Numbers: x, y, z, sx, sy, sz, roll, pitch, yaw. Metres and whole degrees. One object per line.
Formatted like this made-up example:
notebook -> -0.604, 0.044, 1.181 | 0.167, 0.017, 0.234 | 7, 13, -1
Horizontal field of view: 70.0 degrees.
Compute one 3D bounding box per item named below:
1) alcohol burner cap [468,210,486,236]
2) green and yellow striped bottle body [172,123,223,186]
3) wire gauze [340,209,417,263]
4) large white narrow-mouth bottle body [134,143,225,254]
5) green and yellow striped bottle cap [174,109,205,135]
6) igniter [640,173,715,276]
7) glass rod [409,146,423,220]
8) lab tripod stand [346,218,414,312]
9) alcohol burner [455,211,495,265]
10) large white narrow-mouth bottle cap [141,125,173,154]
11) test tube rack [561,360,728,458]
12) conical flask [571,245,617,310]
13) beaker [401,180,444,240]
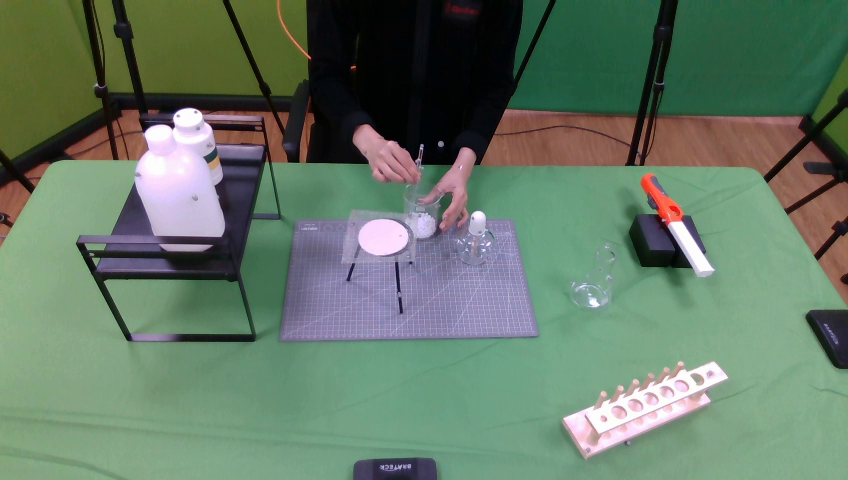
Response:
alcohol burner cap -> 0.100, -0.034, 1.119 | 0.034, 0.048, 0.033 | 0, 53, 0
green and yellow striped bottle body -> -0.373, -0.148, 0.994 | 0.063, 0.120, 0.063 | 2, 46, -2
wire gauze -> -0.074, -0.007, 1.023 | 0.121, 0.011, 0.124 | 3, 46, 0
large white narrow-mouth bottle body -> -0.358, -0.075, 0.875 | 0.102, 0.195, 0.101 | 1, 48, -1
green and yellow striped bottle cap -> -0.369, -0.186, 0.954 | 0.045, 0.020, 0.045 | 3, 50, -3
igniter -> 0.495, -0.039, 1.204 | 0.057, 0.025, 0.274 | -2, 47, -12
glass rod -> -0.017, -0.103, 1.148 | 0.008, 0.200, 0.008 | 4, 51, -5
lab tripod stand -> -0.070, 0.037, 1.075 | 0.148, 0.132, 0.147 | 1, 47, -1
alcohol burner -> 0.097, -0.010, 1.147 | 0.078, 0.120, 0.077 | 1, 47, -1
large white narrow-mouth bottle cap -> -0.356, -0.134, 0.810 | 0.038, 0.024, 0.037 | 1, 48, -1
test tube rack -> 0.341, 0.247, 0.940 | 0.243, 0.085, 0.066 | -15, 49, -18
conical flask -> 0.313, 0.064, 1.089 | 0.075, 0.122, 0.075 | 2, 46, -2
beaker -> -0.005, -0.056, 1.194 | 0.084, 0.101, 0.073 | -7, 48, -11
